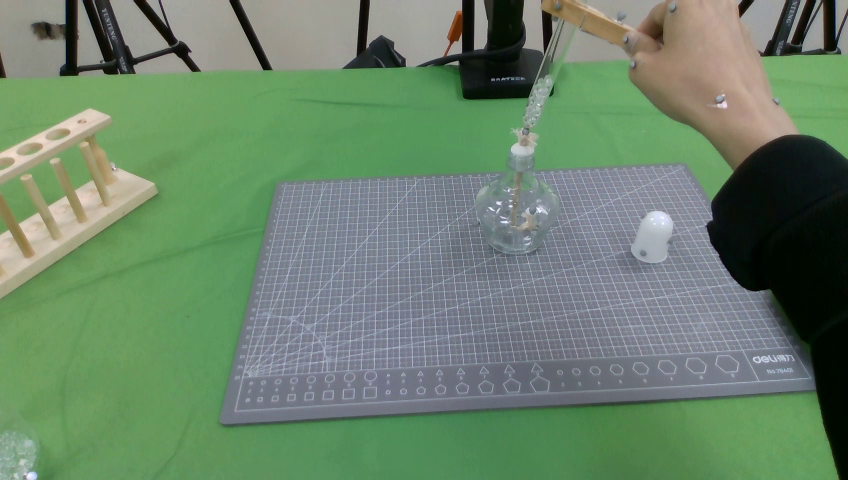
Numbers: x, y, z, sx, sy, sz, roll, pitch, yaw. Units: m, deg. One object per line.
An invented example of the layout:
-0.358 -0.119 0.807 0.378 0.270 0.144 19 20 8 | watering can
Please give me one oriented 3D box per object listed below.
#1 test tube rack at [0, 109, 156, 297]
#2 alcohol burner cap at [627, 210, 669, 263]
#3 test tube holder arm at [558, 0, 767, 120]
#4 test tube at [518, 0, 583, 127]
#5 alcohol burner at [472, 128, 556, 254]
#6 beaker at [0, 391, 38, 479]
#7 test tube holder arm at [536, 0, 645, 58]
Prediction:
-0.377 -0.023 0.556 0.066 0.086 0.241 21 46 23 | test tube rack
0.206 -0.005 0.551 0.034 0.048 0.033 -1 41 1 | alcohol burner cap
0.156 -0.133 0.426 0.013 0.015 0.177 -25 54 -39 | test tube holder arm
0.102 -0.155 0.465 0.017 0.151 0.017 12 35 -8 | test tube
0.082 -0.047 0.546 0.078 0.120 0.077 -1 40 1 | alcohol burner
-0.303 0.122 0.380 0.084 0.101 0.073 -20 45 -18 | beaker
0.121 -0.156 0.441 0.087 0.015 0.010 35 42 22 | test tube holder arm
